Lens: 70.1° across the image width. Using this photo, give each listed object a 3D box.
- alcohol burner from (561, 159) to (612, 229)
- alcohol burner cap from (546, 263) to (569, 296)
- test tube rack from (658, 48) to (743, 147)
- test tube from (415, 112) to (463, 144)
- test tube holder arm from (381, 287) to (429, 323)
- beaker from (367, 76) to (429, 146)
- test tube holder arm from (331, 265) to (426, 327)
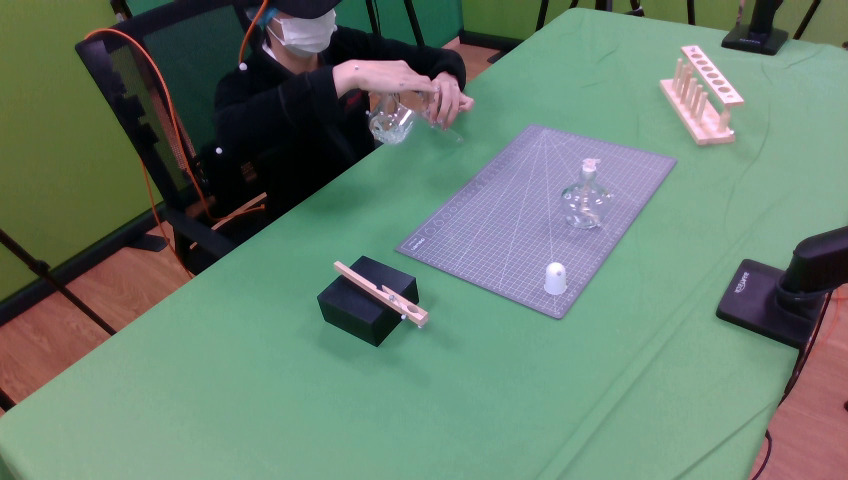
[{"bbox_3d":[0.257,-0.077,0.951,0.078,0.119,0.077,-3,40,3],"label":"alcohol burner"},{"bbox_3d":[0.191,0.053,0.862,0.034,0.048,0.033,-5,40,4],"label":"alcohol burner cap"},{"bbox_3d":[0.532,-0.284,1.181,0.067,0.085,0.241,-5,40,4],"label":"test tube rack"},{"bbox_3d":[0.030,-0.205,1.114,0.017,0.151,0.017,-7,77,32],"label":"test tube"},{"bbox_3d":[-0.028,0.087,0.807,0.087,0.015,0.010,25,42,33],"label":"test tube holder arm"},{"bbox_3d":[-0.043,-0.209,1.003,0.073,0.084,0.100,2,48,33],"label":"beaker"},{"bbox_3d":[-0.066,0.074,0.828,0.177,0.015,0.013,25,42,33],"label":"test tube holder arm"}]
